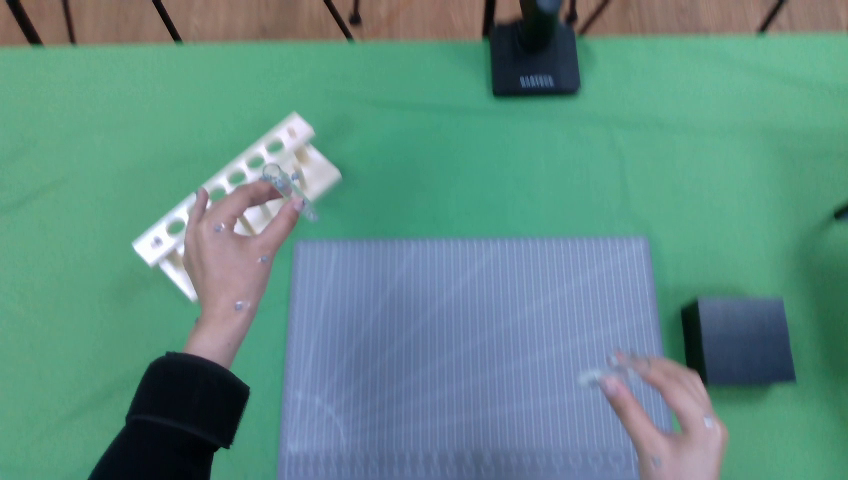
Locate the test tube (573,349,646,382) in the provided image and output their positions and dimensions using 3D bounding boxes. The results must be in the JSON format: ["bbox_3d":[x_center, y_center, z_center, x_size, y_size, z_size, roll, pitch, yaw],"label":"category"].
[{"bbox_3d":[0.146,0.104,0.493,0.017,0.151,0.017,0,74,-1],"label":"test tube"}]

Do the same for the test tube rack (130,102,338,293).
[{"bbox_3d":[-0.221,-0.050,0.736,0.066,0.085,0.242,43,77,13],"label":"test tube rack"}]

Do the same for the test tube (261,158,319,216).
[{"bbox_3d":[-0.121,-0.046,0.563,0.017,0.151,0.017,0,79,3],"label":"test tube"}]
